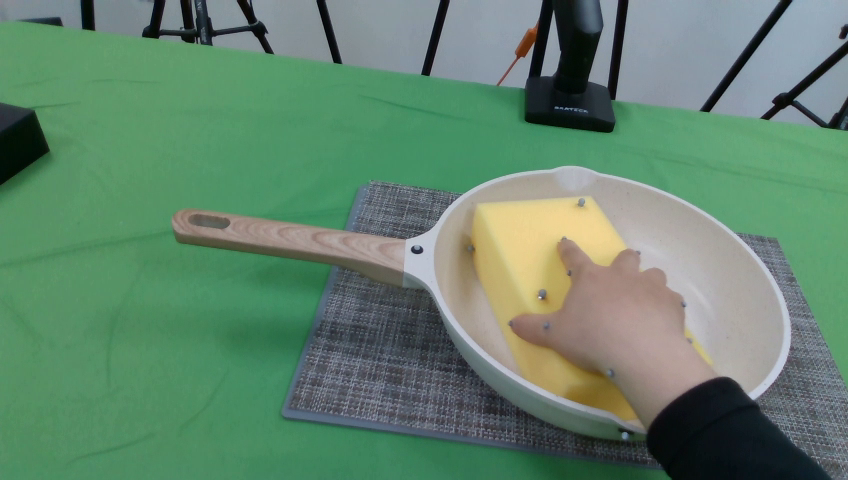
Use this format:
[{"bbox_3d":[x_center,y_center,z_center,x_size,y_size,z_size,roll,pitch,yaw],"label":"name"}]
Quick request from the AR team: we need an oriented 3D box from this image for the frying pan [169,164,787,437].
[{"bbox_3d":[0.041,0.025,0.506,0.489,0.103,0.304,11,39,-7],"label":"frying pan"}]

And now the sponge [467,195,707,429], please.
[{"bbox_3d":[0.123,0.049,0.515,0.118,0.061,0.204,-5,43,-15],"label":"sponge"}]
